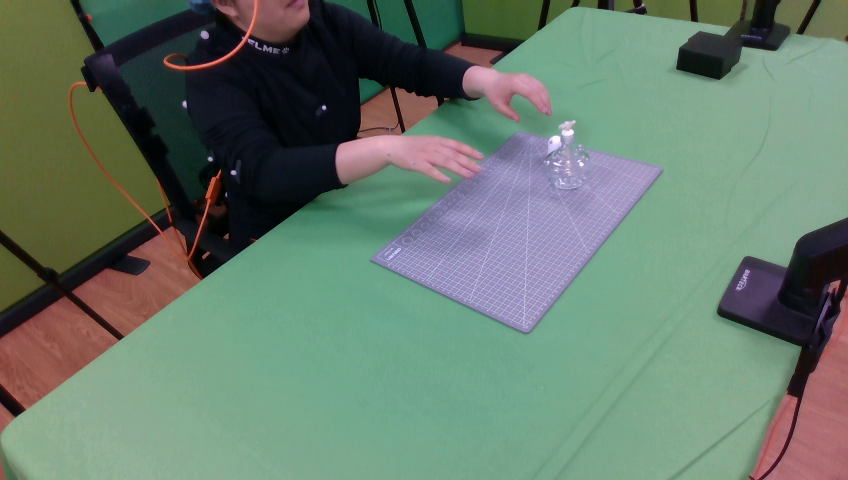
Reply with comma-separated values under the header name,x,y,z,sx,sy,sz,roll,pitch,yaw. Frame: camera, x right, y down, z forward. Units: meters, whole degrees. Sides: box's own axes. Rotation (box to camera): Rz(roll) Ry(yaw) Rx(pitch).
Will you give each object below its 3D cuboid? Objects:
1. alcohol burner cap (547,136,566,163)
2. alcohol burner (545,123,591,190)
name,x,y,z,sx,sy,sz,roll,pitch,yaw
alcohol burner cap,0.245,-0.170,1.118,0.034,0.048,0.033,-6,40,6
alcohol burner,0.247,-0.147,1.034,0.078,0.120,0.077,-7,41,6
